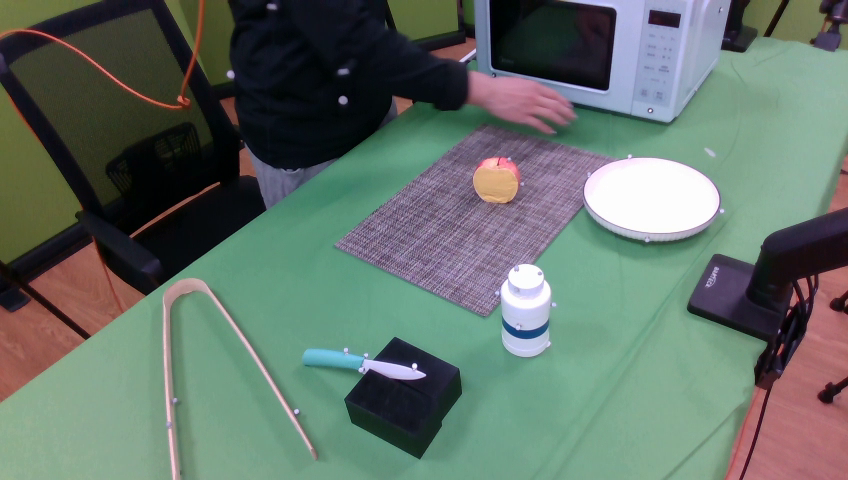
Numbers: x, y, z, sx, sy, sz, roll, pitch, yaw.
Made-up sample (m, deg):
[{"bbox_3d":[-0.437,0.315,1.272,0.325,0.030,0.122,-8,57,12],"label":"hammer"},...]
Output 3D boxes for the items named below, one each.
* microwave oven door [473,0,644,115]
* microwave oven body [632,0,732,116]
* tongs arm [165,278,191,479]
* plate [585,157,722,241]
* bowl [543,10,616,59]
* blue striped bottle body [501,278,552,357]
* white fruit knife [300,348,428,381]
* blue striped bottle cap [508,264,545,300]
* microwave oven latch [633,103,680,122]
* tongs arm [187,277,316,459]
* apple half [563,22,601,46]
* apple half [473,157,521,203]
[{"bbox_3d":[0.257,-0.396,1.199,0.353,0.245,0.039,21,48,29],"label":"microwave oven door"},{"bbox_3d":[0.377,-0.463,1.267,0.438,0.261,0.327,21,49,30],"label":"microwave oven body"},{"bbox_3d":[-0.313,0.182,0.789,0.051,0.026,0.381,-19,41,-14],"label":"tongs arm"},{"bbox_3d":[0.367,-0.063,0.979,0.207,0.039,0.206,-4,41,4],"label":"plate"},{"bbox_3d":[0.336,-0.440,1.306,0.151,0.077,0.151,-8,30,5],"label":"bowl"},{"bbox_3d":[0.130,0.088,0.769,0.063,0.121,0.063,-4,41,4],"label":"blue striped bottle body"},{"bbox_3d":[-0.079,0.154,0.748,0.206,0.027,0.016,1,21,34],"label":"white fruit knife"},{"bbox_3d":[0.125,0.051,0.735,0.044,0.021,0.044,-6,38,5],"label":"blue striped bottle cap"},{"bbox_3d":[0.444,-0.249,1.158,0.078,0.029,0.030,21,49,30],"label":"microwave oven latch"},{"bbox_3d":[-0.240,0.154,0.815,0.028,0.028,0.384,-31,46,-21],"label":"tongs arm"},{"bbox_3d":[0.335,-0.448,1.299,0.081,0.033,0.081,-16,33,11],"label":"apple half"},{"bbox_3d":[0.127,-0.106,1.030,0.080,0.075,0.053,4,36,19],"label":"apple half"}]
